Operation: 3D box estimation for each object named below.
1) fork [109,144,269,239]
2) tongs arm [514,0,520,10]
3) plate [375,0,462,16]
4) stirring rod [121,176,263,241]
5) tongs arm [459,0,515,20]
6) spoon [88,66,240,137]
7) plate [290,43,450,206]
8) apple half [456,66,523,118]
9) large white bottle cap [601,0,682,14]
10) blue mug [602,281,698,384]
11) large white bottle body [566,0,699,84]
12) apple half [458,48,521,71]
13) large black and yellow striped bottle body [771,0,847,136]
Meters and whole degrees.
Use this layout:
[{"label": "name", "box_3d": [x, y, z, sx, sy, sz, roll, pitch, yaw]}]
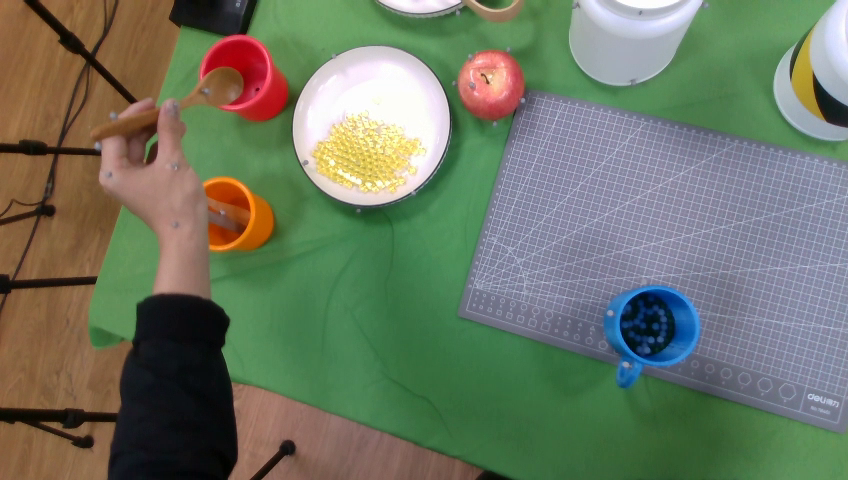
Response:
[{"label": "fork", "box_3d": [-0.283, -0.058, 0.745, 0.209, 0.018, 0.028, 33, 90, -32]}, {"label": "tongs arm", "box_3d": [0.024, -0.448, 0.758, 0.028, 0.028, 0.385, -30, 78, -1]}, {"label": "plate", "box_3d": [0.004, -0.388, 0.786, 0.207, 0.039, 0.207, -1, 85, 9]}, {"label": "stirring rod", "box_3d": [-0.281, -0.037, 0.745, 0.178, 0.006, 0.014, 25, 76, -30]}, {"label": "tongs arm", "box_3d": [-0.040, -0.394, 0.761, 0.051, 0.026, 0.383, -45, 77, -1]}, {"label": "spoon", "box_3d": [-0.241, -0.132, 0.582, 0.021, 0.193, 0.042, 17, 121, 11]}, {"label": "plate", "box_3d": [-0.067, -0.145, 0.774, 0.209, 0.038, 0.208, -1, 85, 10]}, {"label": "apple half", "box_3d": [0.079, -0.176, 0.736, 0.081, 0.075, 0.053, 1, 89, 6]}, {"label": "large white bottle cap", "box_3d": [0.212, -0.274, 0.580, 0.114, 0.018, 0.114, -1, 84, 10]}, {"label": "blue mug", "box_3d": [0.237, 0.103, 0.663, 0.082, 0.106, 0.116, 24, 89, 11]}, {"label": "large white bottle body", "box_3d": [0.227, -0.264, 0.663, 0.130, 0.185, 0.130, -1, 83, 10]}, {"label": "apple half", "box_3d": [0.080, -0.215, 0.738, 0.081, 0.081, 0.033, 1, 89, 10]}, {"label": "large black and yellow striped bottle body", "box_3d": [0.456, -0.192, 0.619, 0.130, 0.185, 0.130, -1, 83, 10]}]
